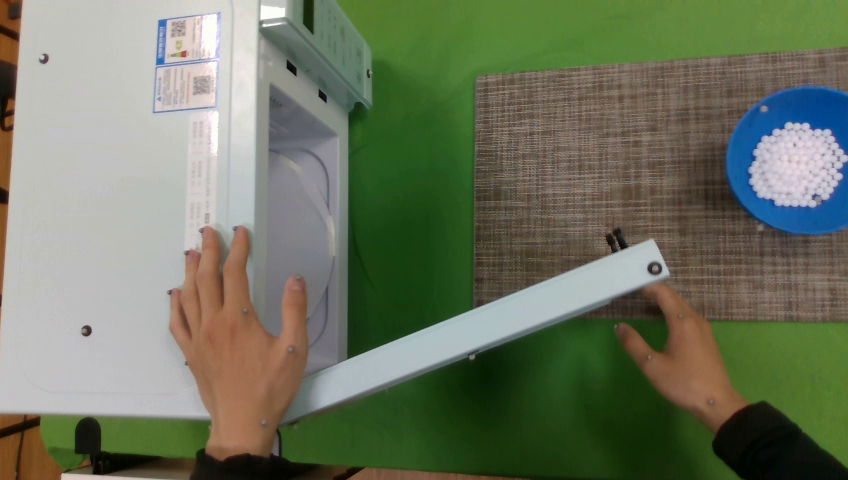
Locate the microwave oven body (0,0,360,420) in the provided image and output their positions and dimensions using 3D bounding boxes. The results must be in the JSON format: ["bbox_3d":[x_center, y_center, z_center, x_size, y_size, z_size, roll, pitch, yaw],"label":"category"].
[{"bbox_3d":[-0.253,-0.042,0.685,0.325,0.261,0.440,-3,84,13],"label":"microwave oven body"}]

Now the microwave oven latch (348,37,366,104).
[{"bbox_3d":[-0.089,-0.214,0.764,0.030,0.029,0.079,-3,84,13],"label":"microwave oven latch"}]

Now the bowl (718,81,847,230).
[{"bbox_3d":[0.381,-0.080,0.631,0.151,0.077,0.151,-1,84,14],"label":"bowl"}]

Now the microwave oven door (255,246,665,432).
[{"bbox_3d":[0.045,0.094,0.595,0.355,0.245,0.039,-24,78,10],"label":"microwave oven door"}]
